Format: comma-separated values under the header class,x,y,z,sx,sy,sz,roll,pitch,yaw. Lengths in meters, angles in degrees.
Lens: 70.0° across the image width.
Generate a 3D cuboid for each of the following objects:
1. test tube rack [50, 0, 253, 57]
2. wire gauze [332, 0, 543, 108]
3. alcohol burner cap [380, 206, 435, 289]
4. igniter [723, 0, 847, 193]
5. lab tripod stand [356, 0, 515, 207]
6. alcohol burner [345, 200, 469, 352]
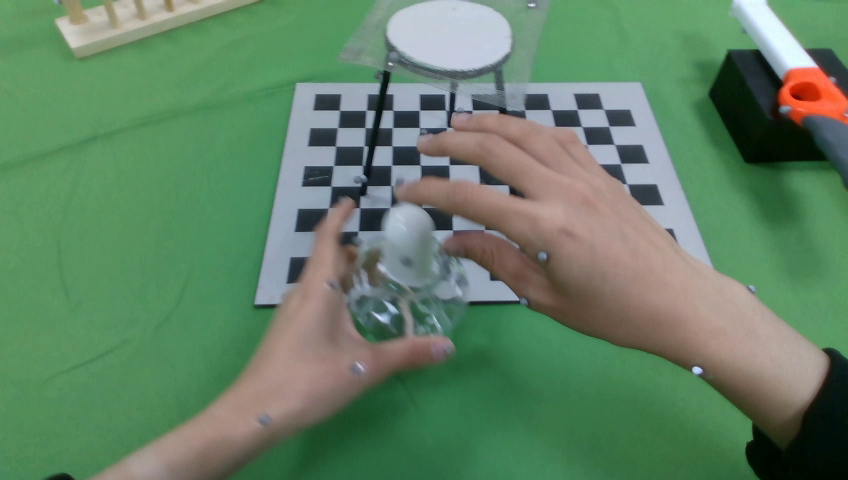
class,x,y,z,sx,sy,sz,roll,pitch,yaw
test tube rack,-0.276,-0.286,0.644,0.242,0.086,0.066,-28,58,-22
wire gauze,0.014,-0.142,0.413,0.125,0.011,0.120,14,51,8
alcohol burner cap,-0.009,0.001,0.341,0.034,0.048,0.033,1,53,-1
igniter,0.319,-0.136,0.516,0.057,0.025,0.273,-3,49,1
lab tripod stand,0.017,-0.101,0.467,0.148,0.132,0.147,2,50,-2
alcohol burner,-0.010,0.019,0.366,0.078,0.120,0.077,2,55,-2
